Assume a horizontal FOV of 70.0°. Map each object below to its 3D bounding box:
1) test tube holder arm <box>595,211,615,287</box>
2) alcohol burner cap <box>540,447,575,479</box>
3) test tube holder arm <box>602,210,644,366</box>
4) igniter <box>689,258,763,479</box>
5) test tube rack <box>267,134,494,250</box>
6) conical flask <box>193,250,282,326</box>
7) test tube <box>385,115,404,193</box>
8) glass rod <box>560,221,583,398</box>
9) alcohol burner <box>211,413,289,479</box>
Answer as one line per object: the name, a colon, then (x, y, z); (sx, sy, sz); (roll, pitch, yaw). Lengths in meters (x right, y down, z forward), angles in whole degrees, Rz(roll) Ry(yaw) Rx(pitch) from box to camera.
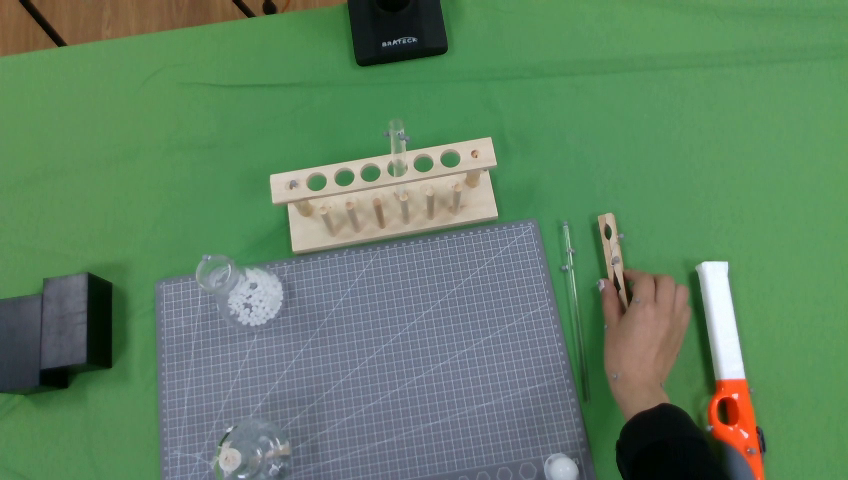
test tube holder arm: (0.210, 0.010, 0.691); (0.010, 0.015, 0.087); (-18, 71, 35)
alcohol burner cap: (0.137, 0.227, 0.612); (0.034, 0.048, 0.033); (-1, 72, 2)
test tube holder arm: (0.220, 0.051, 0.675); (0.013, 0.015, 0.177); (-20, 69, 34)
igniter: (0.318, 0.153, 0.638); (0.057, 0.025, 0.275); (1, 73, -8)
test tube rack: (-0.043, -0.051, 0.683); (0.242, 0.085, 0.066); (-10, 73, -1)
conical flask: (-0.200, 0.045, 0.637); (0.075, 0.122, 0.075); (-1, 73, 2)
test tube: (-0.030, -0.087, 0.641); (0.017, 0.151, 0.017); (0, 70, 0)
glass rod: (0.164, 0.074, 0.677); (0.008, 0.008, 0.198); (-3, 75, 1)
alcohol burner: (-0.175, 0.208, 0.592); (0.078, 0.120, 0.077); (-1, 72, 4)
